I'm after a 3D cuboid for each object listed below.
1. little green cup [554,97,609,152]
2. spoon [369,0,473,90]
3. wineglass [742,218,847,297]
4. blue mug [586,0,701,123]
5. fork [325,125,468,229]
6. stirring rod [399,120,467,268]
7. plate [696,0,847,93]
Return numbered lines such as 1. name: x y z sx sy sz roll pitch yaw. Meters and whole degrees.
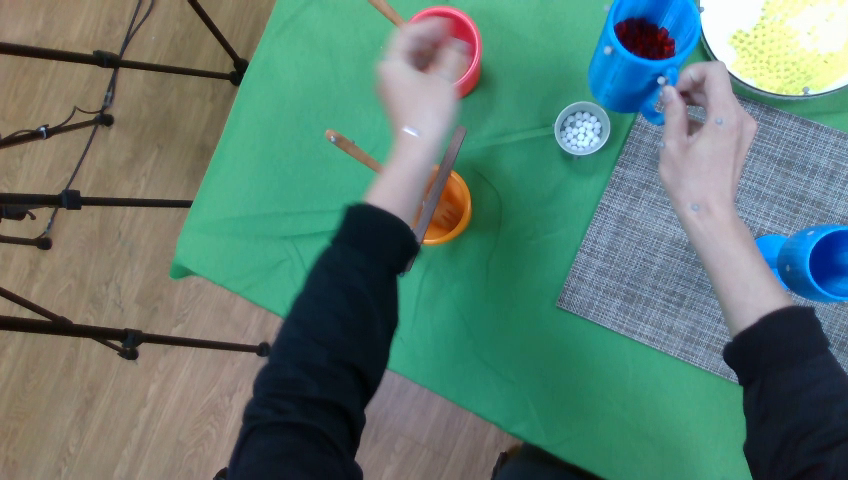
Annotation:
1. little green cup: 0.182 -0.131 0.702 0.061 0.039 0.061 0 89 12
2. spoon: -0.016 -0.239 0.688 0.196 0.021 0.041 35 99 -34
3. wineglass: 0.372 0.017 0.592 0.073 0.172 0.073 0 88 11
4. blue mug: 0.213 -0.168 0.582 0.082 0.106 0.116 -20 79 1
5. fork: -0.027 -0.069 0.686 0.209 0.018 0.028 32 104 -34
6. stirring rod: 0.010 -0.050 0.676 0.014 0.006 0.176 23 93 11
7. plate: 0.405 -0.261 0.661 0.209 0.038 0.209 0 90 11
